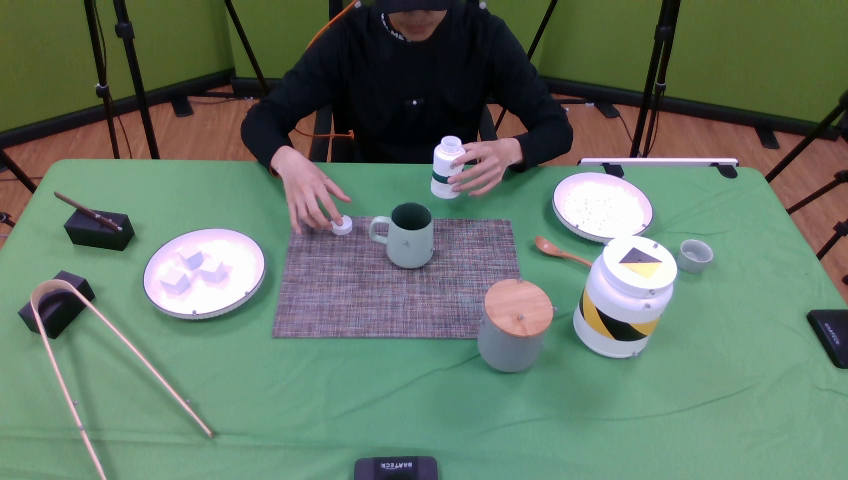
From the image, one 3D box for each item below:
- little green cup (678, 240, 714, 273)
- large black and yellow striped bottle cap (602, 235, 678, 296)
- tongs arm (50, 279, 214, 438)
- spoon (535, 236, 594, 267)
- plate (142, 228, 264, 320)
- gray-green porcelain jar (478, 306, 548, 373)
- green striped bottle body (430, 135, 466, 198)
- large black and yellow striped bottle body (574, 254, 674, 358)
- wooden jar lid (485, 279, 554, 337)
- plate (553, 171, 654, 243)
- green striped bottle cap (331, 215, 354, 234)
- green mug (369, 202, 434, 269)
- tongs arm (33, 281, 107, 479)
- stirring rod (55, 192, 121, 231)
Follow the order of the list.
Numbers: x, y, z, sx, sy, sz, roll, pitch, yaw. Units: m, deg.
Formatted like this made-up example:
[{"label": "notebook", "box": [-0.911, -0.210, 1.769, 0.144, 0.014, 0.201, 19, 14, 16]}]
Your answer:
[{"label": "little green cup", "box": [0.530, 0.033, 1.190, 0.061, 0.039, 0.061, 2, 46, -1]}, {"label": "large black and yellow striped bottle cap", "box": [0.340, 0.037, 0.955, 0.115, 0.019, 0.114, 2, 47, -1]}, {"label": "tongs arm", "box": [-0.459, 0.178, 0.949, 0.386, 0.028, 0.028, 37, 60, 17]}, {"label": "spoon", "box": [0.303, 0.040, 1.178, 0.193, 0.022, 0.041, 25, 31, 19]}, {"label": "plate", "box": [-0.394, 0.064, 1.095, 0.208, 0.039, 0.206, 2, 46, -2]}, {"label": "gray-green porcelain jar", "box": [0.144, 0.148, 0.989, 0.106, 0.127, 0.105, 2, 50, -2]}, {"label": "green striped bottle body", "box": [0.048, -0.146, 1.196, 0.063, 0.120, 0.063, 4, 42, -3]}, {"label": "large black and yellow striped bottle body", "box": [0.335, 0.096, 1.014, 0.131, 0.185, 0.130, 2, 46, -2]}, {"label": "wooden jar lid", "box": [0.147, 0.108, 0.940, 0.108, 0.021, 0.107, 4, 47, -4]}, {"label": "plate", "box": [0.373, -0.066, 1.275, 0.209, 0.038, 0.208, 2, 46, -2]}, {"label": "green striped bottle cap", "box": [-0.162, -0.032, 1.209, 0.044, 0.020, 0.044, -6, 34, 4]}, {"label": "green mug", "box": [-0.043, -0.010, 1.140, 0.125, 0.105, 0.092, 7, 47, 3]}, {"label": "tongs arm", "box": [-0.517, 0.214, 0.910, 0.051, 0.026, 0.383, -28, 63, -27]}, {"label": "stirring rod", "box": [-0.632, -0.055, 1.138, 0.175, 0.014, 0.006, 24, 50, 19]}]
